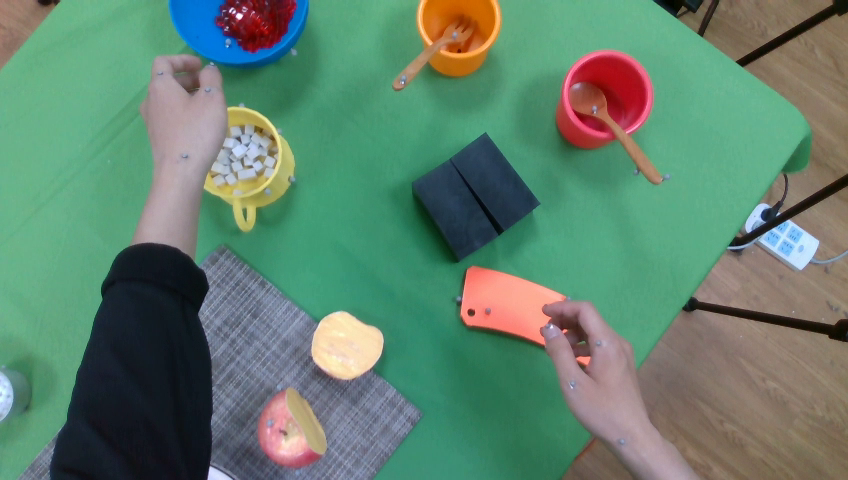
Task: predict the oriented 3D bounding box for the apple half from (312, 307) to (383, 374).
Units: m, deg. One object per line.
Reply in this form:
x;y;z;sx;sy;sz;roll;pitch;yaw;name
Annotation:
-0.088;0.117;0.668;0.081;0.033;0.080;8;52;-10;apple half

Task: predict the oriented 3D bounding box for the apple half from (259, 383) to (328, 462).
-0.144;0.199;0.643;0.053;0.074;0.081;-32;89;0;apple half

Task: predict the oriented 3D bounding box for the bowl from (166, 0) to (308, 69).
-0.201;-0.257;0.684;0.151;0.077;0.151;0;86;-1;bowl

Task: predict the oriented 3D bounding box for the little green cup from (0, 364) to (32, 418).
-0.466;0.166;0.662;0.061;0.038;0.061;0;85;0;little green cup

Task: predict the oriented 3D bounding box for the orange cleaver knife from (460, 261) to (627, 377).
0.137;0.089;0.688;0.211;0.012;0.077;23;81;2;orange cleaver knife

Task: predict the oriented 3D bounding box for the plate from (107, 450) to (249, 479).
-0.262;0.328;0.647;0.209;0.038;0.208;0;85;-1;plate

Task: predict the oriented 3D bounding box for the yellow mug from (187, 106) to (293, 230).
-0.201;-0.076;0.674;0.100;0.064;0.130;-4;86;-1;yellow mug

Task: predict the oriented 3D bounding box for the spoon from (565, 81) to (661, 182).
0.200;-0.120;0.645;0.041;0.191;0.022;-15;130;-3;spoon

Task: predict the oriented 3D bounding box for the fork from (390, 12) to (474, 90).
0.011;-0.205;0.646;0.028;0.019;0.206;32;42;2;fork
